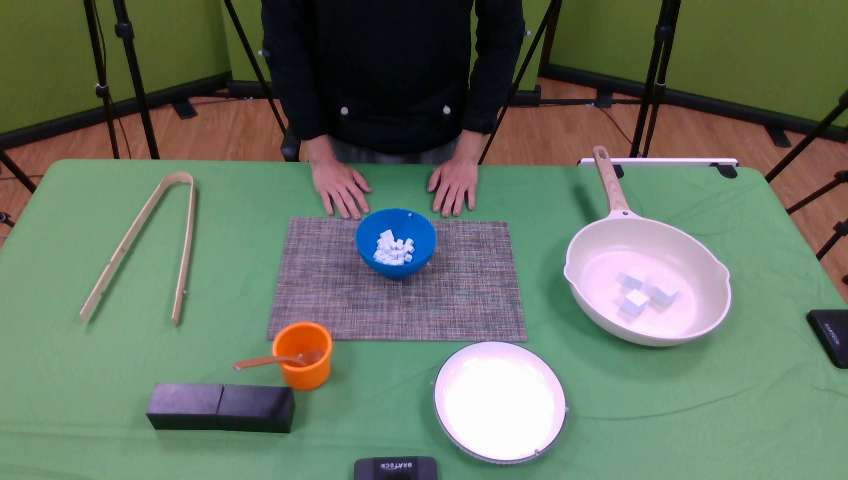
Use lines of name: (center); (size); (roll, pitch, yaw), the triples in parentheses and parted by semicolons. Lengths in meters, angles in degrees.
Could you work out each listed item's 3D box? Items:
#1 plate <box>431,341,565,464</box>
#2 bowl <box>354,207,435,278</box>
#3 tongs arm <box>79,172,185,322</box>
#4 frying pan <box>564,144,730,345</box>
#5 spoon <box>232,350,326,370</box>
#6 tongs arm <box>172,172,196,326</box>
plate: (0.114, 0.255, 0.952); (0.208, 0.039, 0.206); (3, 46, -2)
bowl: (-0.055, 0.018, 1.132); (0.151, 0.077, 0.150); (2, 46, -2)
tongs arm: (-0.541, -0.002, 1.147); (0.051, 0.026, 0.382); (5, 45, -1)
frying pan: (0.396, -0.008, 1.179); (0.307, 0.103, 0.484); (0, 55, -5)
spoon: (-0.216, 0.182, 0.919); (0.041, 0.194, 0.021); (43, 102, 27)
tongs arm: (-0.459, 0.003, 1.156); (0.028, 0.028, 0.385); (-7, 47, -8)
